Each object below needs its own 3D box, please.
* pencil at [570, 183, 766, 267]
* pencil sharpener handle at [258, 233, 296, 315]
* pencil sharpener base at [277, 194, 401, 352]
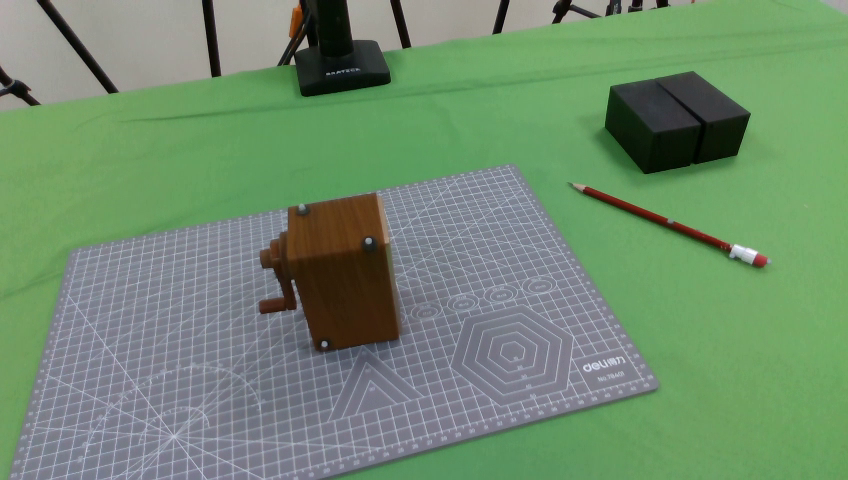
[{"bbox_3d":[0.219,-0.019,0.566,0.192,0.012,0.012,29,52,34],"label":"pencil"},{"bbox_3d":[-0.113,0.028,0.445,0.031,0.068,0.035,-10,36,-5],"label":"pencil sharpener handle"},{"bbox_3d":[-0.062,0.028,0.459,0.077,0.108,0.060,-10,42,-5],"label":"pencil sharpener base"}]
